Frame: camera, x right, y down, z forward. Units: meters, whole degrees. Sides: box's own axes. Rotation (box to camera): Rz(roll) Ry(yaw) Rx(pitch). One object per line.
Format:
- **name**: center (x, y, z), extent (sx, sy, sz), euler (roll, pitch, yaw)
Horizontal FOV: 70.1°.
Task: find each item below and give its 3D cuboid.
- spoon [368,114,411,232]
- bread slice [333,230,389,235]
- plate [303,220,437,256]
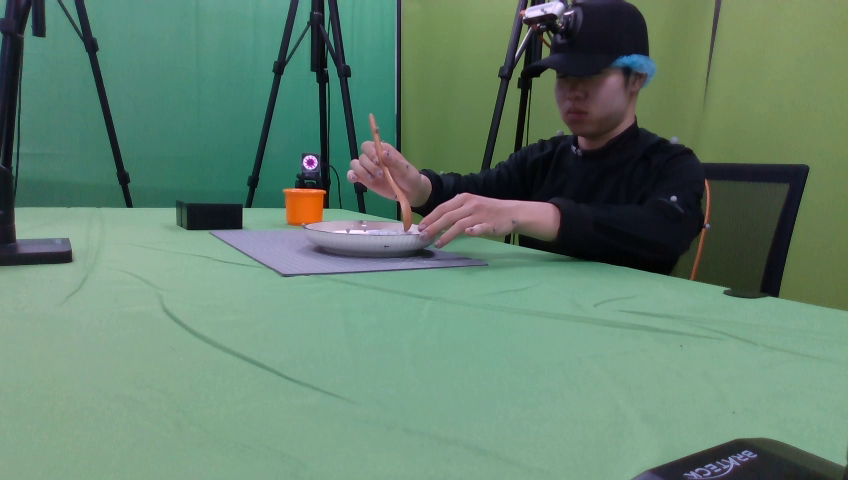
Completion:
- **spoon**: center (-0.055, -0.104, 0.923), extent (0.021, 0.193, 0.042), euler (-24, -8, 10)
- **bread slice**: center (-0.088, 0.000, 0.947), extent (0.105, 0.019, 0.131), euler (-4, 10, -44)
- **plate**: center (-0.084, -0.003, 0.951), extent (0.209, 0.038, 0.209), euler (3, 7, 0)
